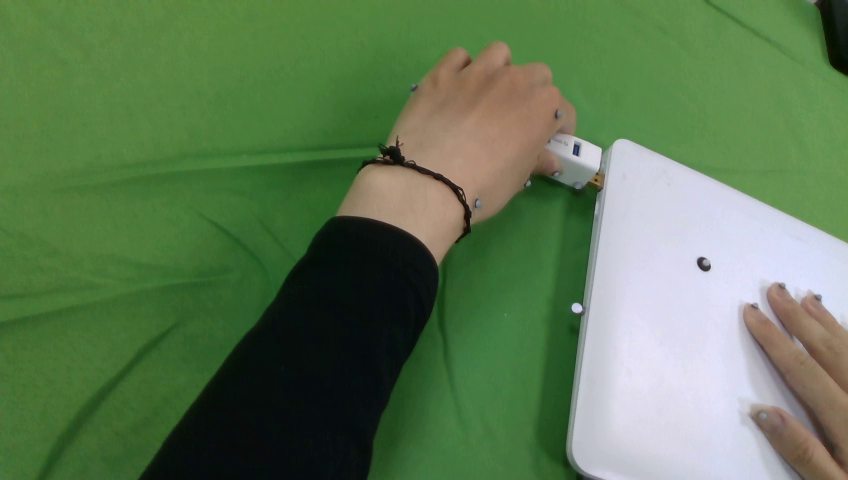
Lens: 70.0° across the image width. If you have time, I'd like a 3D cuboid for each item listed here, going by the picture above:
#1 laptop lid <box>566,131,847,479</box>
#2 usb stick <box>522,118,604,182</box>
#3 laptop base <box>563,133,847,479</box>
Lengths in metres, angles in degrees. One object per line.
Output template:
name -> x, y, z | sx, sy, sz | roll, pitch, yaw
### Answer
laptop lid -> 0.262, 0.082, 0.397 | 0.358, 0.013, 0.240 | 24, 60, -9
usb stick -> 0.097, -0.057, 0.399 | 0.059, 0.027, 0.021 | 20, 58, -12
laptop base -> 0.259, 0.086, 0.408 | 0.355, 0.023, 0.234 | 22, 61, -10
